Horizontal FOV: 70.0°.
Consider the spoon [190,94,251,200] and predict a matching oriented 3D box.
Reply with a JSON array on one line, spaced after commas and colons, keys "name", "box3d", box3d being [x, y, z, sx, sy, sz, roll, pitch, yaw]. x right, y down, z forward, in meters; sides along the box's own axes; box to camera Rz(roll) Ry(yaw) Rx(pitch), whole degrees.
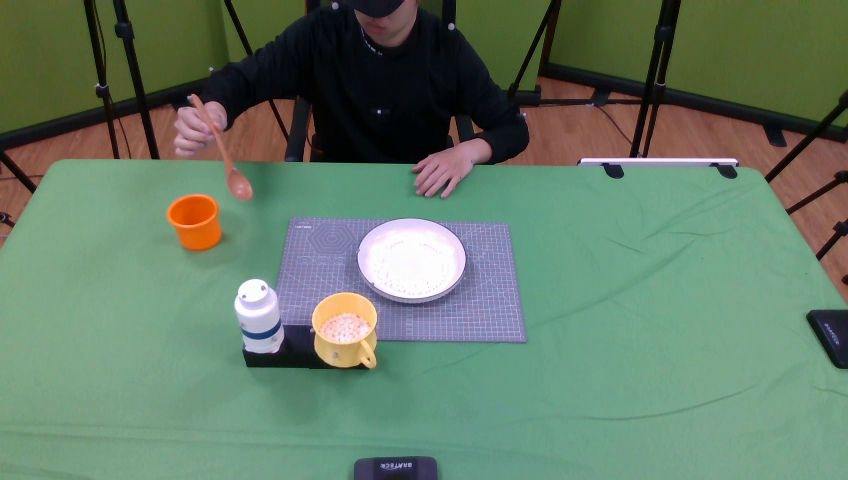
[{"name": "spoon", "box3d": [-0.349, -0.158, 1.038, 0.021, 0.194, 0.041, 3, 31, 43]}]

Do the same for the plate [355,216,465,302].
[{"name": "plate", "box3d": [-0.027, 0.039, 1.144, 0.208, 0.039, 0.206, 2, 46, -2]}]

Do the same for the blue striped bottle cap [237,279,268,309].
[{"name": "blue striped bottle cap", "box3d": [-0.252, 0.078, 0.892, 0.044, 0.021, 0.044, 4, 47, -4]}]

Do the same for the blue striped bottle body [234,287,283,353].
[{"name": "blue striped bottle body", "box3d": [-0.254, 0.114, 0.929, 0.063, 0.121, 0.062, 2, 46, -2]}]

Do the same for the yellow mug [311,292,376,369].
[{"name": "yellow mug", "box3d": [-0.115, 0.149, 0.945, 0.100, 0.064, 0.130, -30, 57, -28]}]
